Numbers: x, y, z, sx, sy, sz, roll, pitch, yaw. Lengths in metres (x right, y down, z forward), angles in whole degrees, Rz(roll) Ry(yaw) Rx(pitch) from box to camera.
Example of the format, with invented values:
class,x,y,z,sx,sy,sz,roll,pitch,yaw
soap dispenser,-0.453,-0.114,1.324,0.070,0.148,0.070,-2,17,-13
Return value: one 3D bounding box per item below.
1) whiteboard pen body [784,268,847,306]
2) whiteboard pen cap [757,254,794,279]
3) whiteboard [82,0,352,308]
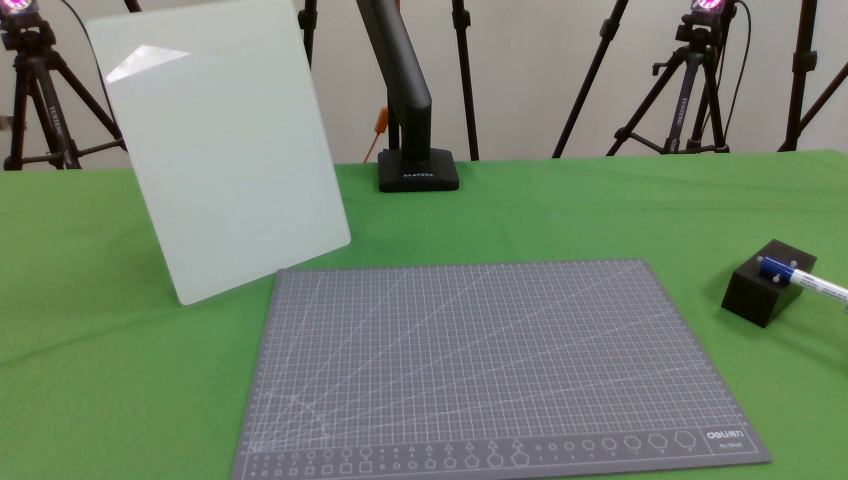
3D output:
class,x,y,z,sx,sy,sz,roll,pitch,yaw
whiteboard pen body,0.416,0.053,0.612,0.139,0.017,0.017,28,42,36
whiteboard pen cap,0.375,0.028,0.644,0.033,0.018,0.018,30,43,35
whiteboard,-0.244,-0.113,0.723,0.217,0.307,0.142,-23,21,-30
